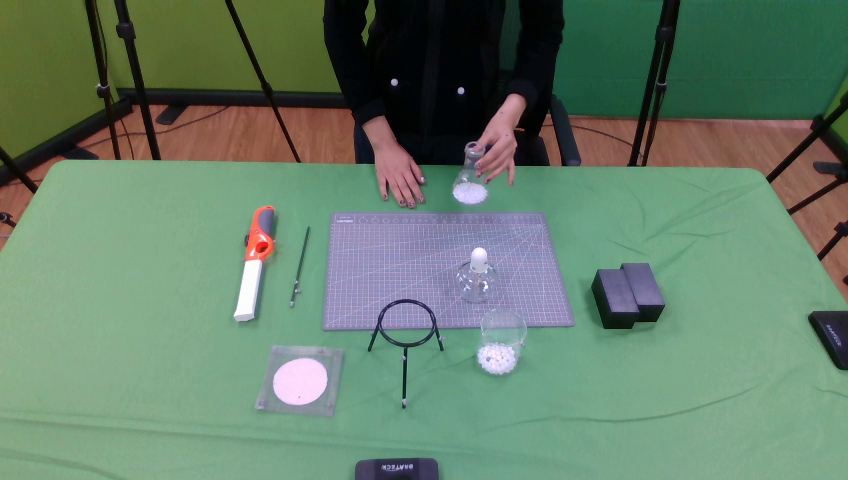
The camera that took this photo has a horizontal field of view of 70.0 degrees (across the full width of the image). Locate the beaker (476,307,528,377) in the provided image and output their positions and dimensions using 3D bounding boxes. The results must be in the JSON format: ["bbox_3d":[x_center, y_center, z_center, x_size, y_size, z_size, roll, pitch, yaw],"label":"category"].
[{"bbox_3d":[0.122,0.171,0.991,0.084,0.101,0.073,-34,56,-30],"label":"beaker"}]

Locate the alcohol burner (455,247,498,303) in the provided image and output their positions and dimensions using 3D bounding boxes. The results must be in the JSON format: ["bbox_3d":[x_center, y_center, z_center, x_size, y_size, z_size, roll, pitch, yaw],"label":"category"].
[{"bbox_3d":[0.095,0.057,1.085,0.078,0.120,0.077,1,47,-1],"label":"alcohol burner"}]

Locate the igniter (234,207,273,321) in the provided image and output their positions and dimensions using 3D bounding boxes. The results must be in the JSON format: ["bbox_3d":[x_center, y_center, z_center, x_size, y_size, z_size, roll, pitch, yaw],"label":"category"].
[{"bbox_3d":[-0.318,0.035,1.137,0.057,0.025,0.274,-8,46,3],"label":"igniter"}]

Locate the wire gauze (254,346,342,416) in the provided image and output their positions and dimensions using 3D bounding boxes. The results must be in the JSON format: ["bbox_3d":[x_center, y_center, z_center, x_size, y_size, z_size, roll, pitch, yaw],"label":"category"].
[{"bbox_3d":[-0.201,0.223,0.978,0.125,0.011,0.121,4,45,1],"label":"wire gauze"}]

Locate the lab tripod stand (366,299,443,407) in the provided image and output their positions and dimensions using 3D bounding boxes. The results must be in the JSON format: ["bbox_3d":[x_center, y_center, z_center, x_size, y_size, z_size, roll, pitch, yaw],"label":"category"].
[{"bbox_3d":[-0.028,0.165,0.961,0.148,0.132,0.147,3,44,-2],"label":"lab tripod stand"}]

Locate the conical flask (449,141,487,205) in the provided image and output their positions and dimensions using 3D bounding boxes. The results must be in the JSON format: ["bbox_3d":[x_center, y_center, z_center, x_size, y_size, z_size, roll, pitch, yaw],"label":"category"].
[{"bbox_3d":[0.090,-0.133,1.175,0.075,0.122,0.075,2,46,-2],"label":"conical flask"}]

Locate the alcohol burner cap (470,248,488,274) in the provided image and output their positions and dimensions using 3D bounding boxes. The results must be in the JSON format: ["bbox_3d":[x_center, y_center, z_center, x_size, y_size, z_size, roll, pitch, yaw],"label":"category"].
[{"bbox_3d":[0.095,0.034,1.057,0.034,0.048,0.033,-3,52,4],"label":"alcohol burner cap"}]

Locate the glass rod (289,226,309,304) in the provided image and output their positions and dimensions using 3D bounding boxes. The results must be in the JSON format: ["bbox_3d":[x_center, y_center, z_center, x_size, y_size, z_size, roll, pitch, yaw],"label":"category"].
[{"bbox_3d":[-0.235,0.043,1.150,0.008,0.008,0.198,3,46,-1],"label":"glass rod"}]
